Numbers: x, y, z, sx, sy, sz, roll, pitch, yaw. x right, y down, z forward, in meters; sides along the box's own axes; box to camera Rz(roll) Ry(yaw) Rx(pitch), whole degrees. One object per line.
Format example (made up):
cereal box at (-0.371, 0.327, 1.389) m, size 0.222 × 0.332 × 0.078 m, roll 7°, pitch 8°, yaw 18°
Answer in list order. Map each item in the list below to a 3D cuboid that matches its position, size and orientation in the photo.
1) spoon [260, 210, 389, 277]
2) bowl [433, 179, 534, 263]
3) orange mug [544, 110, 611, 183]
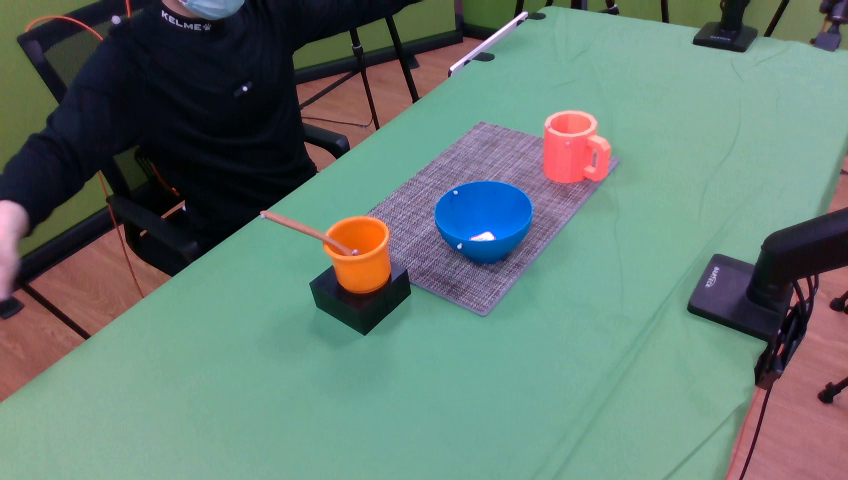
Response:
spoon at (-0.129, 0.003, 0.809) m, size 0.021 × 0.195 × 0.041 m, roll -41°, pitch 33°, yaw 31°
bowl at (0.093, -0.018, 0.928) m, size 0.151 × 0.077 × 0.150 m, roll -4°, pitch 41°, yaw 4°
orange mug at (0.266, -0.157, 1.049) m, size 0.084 × 0.101 × 0.125 m, roll -32°, pitch 42°, yaw -26°
